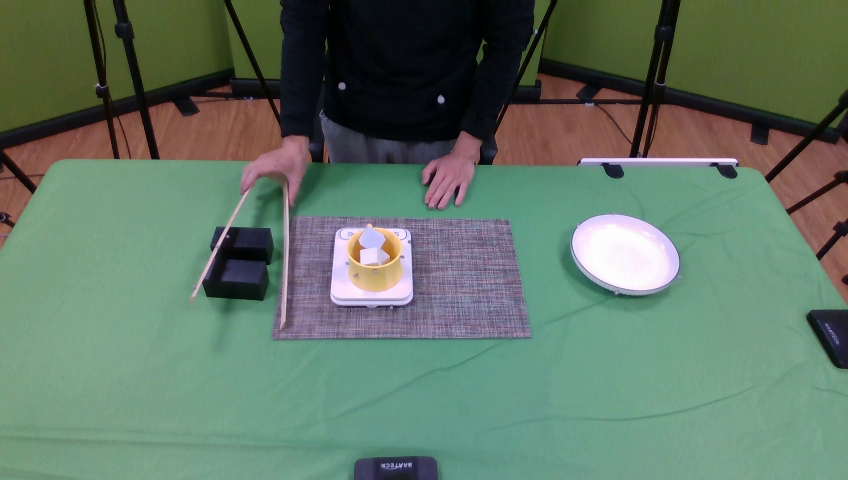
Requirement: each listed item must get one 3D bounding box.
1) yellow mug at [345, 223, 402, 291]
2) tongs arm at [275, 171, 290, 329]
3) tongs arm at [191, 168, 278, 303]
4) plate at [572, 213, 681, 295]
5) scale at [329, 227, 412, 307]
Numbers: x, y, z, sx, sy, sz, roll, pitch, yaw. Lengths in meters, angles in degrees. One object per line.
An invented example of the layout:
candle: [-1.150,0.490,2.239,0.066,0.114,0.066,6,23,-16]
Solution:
yellow mug: [-0.092,0.022,1.093,0.100,0.064,0.130,-8,46,-10]
tongs arm: [-0.272,0.005,1.158,0.028,0.028,0.385,10,44,-22]
tongs arm: [-0.344,-0.021,1.131,0.051,0.026,0.382,22,39,-14]
plate: [0.392,0.030,1.189,0.208,0.039,0.206,2,46,-2]
scale: [-0.099,0.042,1.139,0.149,0.032,0.199,1,46,-4]
